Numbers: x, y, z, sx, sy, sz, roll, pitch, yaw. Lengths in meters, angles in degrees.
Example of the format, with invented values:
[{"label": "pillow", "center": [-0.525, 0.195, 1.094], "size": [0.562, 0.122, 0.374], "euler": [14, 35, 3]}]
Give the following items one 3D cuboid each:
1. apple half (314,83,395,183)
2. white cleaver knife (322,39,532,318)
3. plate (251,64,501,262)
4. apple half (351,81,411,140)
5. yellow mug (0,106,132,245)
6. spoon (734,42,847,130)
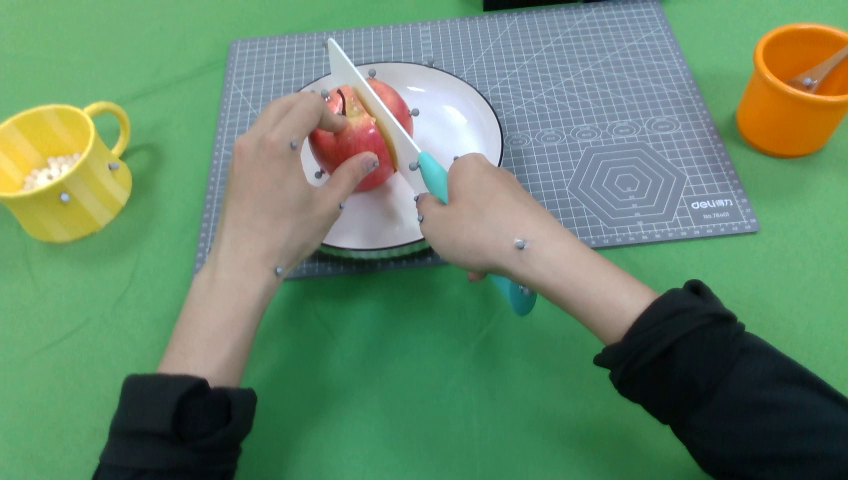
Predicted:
[{"label": "apple half", "center": [-0.057, -0.078, 0.490], "size": [0.053, 0.075, 0.080], "euler": [-44, 61, -8]}, {"label": "white cleaver knife", "center": [-0.008, -0.054, 0.456], "size": [0.021, 0.066, 0.283], "euler": [-27, 61, -15]}, {"label": "plate", "center": [-0.039, -0.066, 0.516], "size": [0.209, 0.038, 0.207], "euler": [-2, 57, 3]}, {"label": "apple half", "center": [-0.030, -0.096, 0.503], "size": [0.033, 0.082, 0.080], "euler": [-29, 59, -17]}, {"label": "yellow mug", "center": [-0.307, -0.066, 0.524], "size": [0.099, 0.064, 0.130], "euler": [25, 61, 19]}, {"label": "spoon", "center": [0.338, -0.151, 0.476], "size": [0.022, 0.194, 0.041], "euler": [21, 44, -35]}]
